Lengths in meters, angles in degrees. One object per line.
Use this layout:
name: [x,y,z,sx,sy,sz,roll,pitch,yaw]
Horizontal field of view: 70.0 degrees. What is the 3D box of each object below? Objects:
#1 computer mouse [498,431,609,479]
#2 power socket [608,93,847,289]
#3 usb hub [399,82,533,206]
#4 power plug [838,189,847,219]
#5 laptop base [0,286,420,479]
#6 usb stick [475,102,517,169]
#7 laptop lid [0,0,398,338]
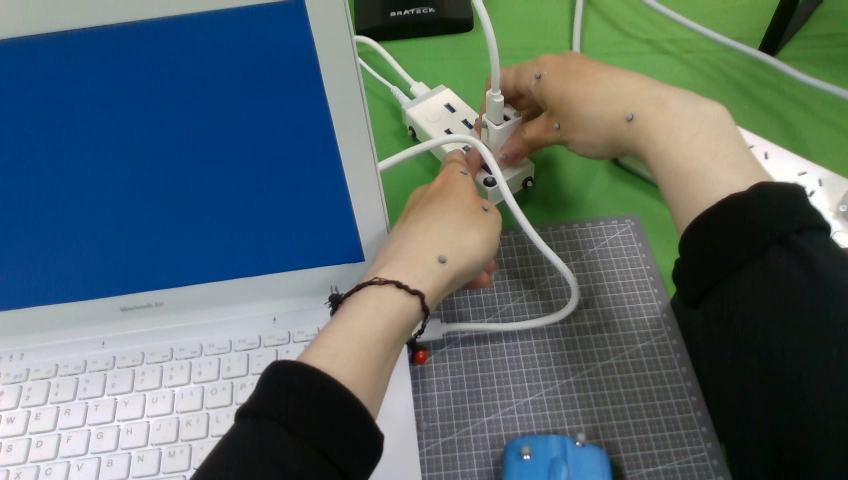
computer mouse: [0.070,0.161,0.330,0.062,0.041,0.116,4,51,10]
power socket: [0.253,-0.044,0.465,0.225,0.033,0.072,37,64,25]
usb hub: [0.033,-0.084,0.512,0.049,0.025,0.124,-32,59,-16]
power plug: [0.325,-0.035,0.427,0.072,0.053,0.035,-34,58,-16]
laptop base: [-0.178,0.154,0.368,0.354,0.023,0.233,-8,59,-1]
usb stick: [0.055,-0.078,0.469,0.027,0.059,0.021,-38,69,-13]
laptop lid: [-0.203,-0.030,0.354,0.357,0.244,0.013,-9,42,0]
